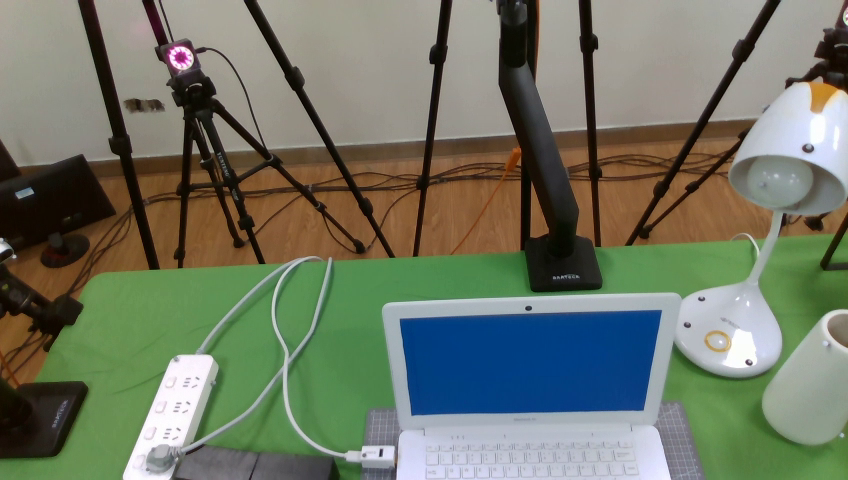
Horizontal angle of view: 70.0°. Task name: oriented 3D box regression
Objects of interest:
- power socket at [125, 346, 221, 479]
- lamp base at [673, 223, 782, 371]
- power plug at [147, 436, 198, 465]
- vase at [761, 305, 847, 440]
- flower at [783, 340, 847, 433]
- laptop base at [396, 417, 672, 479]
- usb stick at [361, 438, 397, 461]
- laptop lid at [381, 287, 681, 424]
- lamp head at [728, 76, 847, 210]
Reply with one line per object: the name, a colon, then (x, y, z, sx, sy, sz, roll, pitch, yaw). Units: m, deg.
power socket: (-0.363, 0.250, 0.888, 0.072, 0.033, 0.224, 0, 45, 5)
lamp base: (0.459, 0.070, 0.878, 0.159, 0.182, 0.179, 24, 50, 26)
power plug: (-0.340, 0.290, 0.820, 0.072, 0.053, 0.035, 8, 47, 11)
vase: (0.500, 0.168, 0.763, 0.098, 0.202, 0.097, -4, 44, 4)
flower: (0.509, 0.103, 0.709, 0.038, 0.364, 0.043, 0, 34, -18)
laptop base: (0.138, 0.337, 0.761, 0.354, 0.023, 0.233, -2, 49, 4)
usb stick: (-0.053, 0.283, 0.816, 0.059, 0.027, 0.021, 2, 44, 2)
laptop lid: (0.131, 0.156, 0.774, 0.356, 0.244, 0.013, -4, 35, 4)
lamp head: (0.395, -0.106, 0.635, 0.111, 0.113, 0.122, 21, 69, 25)
